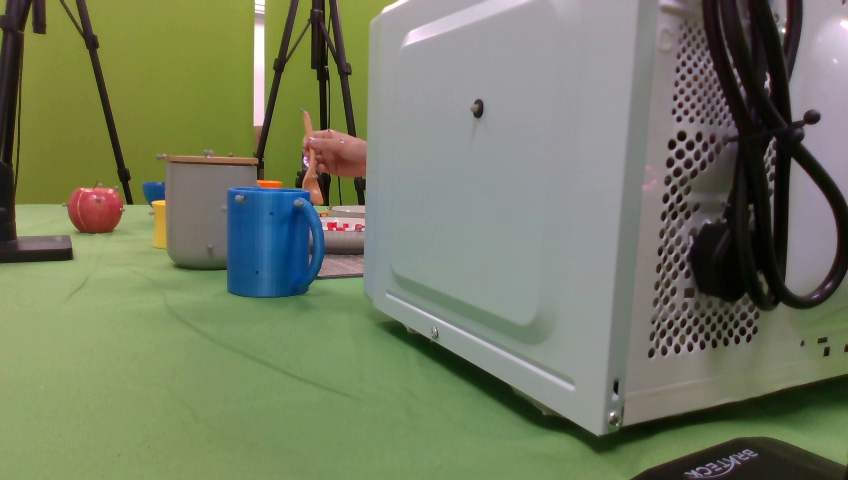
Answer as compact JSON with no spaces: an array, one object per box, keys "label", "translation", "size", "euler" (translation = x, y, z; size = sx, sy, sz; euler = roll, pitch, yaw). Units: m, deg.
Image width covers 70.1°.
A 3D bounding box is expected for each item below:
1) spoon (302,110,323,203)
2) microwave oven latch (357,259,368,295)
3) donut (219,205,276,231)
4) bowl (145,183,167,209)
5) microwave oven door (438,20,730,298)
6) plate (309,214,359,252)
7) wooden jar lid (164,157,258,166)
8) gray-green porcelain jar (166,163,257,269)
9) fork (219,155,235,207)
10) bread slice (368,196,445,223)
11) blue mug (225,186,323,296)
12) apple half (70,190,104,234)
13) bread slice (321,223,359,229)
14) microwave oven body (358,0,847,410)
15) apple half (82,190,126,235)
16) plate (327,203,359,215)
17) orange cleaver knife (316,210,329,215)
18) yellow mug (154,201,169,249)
[{"label":"spoon","translation":[-0.190,-0.143,1.015],"size":[0.021,0.193,0.042],"euler":[-27,-32,32]},{"label":"microwave oven latch","translation":[-0.019,0.031,0.529],"size":[0.079,0.029,0.030],"euler":[-1,7,-26]},{"label":"donut","translation":[-0.316,-0.039,1.083],"size":[0.099,0.048,0.099],"euler":[2,6,0]},{"label":"bowl","translation":[-0.459,-0.068,1.175],"size":[0.151,0.077,0.151],"euler":[3,7,0]},{"label":"microwave oven door","translation":[0.181,-0.076,0.618],"size":[0.358,0.243,0.039],"euler":[-2,8,-28]},{"label":"plate","translation":[-0.130,-0.011,0.945],"size":[0.208,0.039,0.207],"euler":[2,8,0]},{"label":"wooden jar lid","translation":[-0.261,-0.093,0.746],"size":[0.108,0.020,0.108],"euler":[0,9,0]},{"label":"gray-green porcelain jar","translation":[-0.263,-0.031,0.754],"size":[0.106,0.126,0.106],"euler":[2,7,0]},{"label":"fork","translation":[-0.459,-0.134,1.415],"size":[0.028,0.018,0.207],"euler":[-1,-34,-24]},{"label":"bread slice","translation":[-0.040,-0.057,1.142],"size":[0.107,0.018,0.133],"euler":[-8,-8,-40]},{"label":"blue mug","translation":[-0.148,0.000,0.618],"size":[0.116,0.106,0.083],"euler":[7,9,33]},{"label":"apple half","translation":[-0.552,-0.048,1.010],"size":[0.053,0.074,0.081],"euler":[-1,9,26]},{"label":"bread slice","translation":[-0.124,-0.010,0.938],"size":[0.131,0.019,0.105],"euler":[7,10,31]},{"label":"microwave oven body","translation":[0.210,-0.051,0.471],"size":[0.444,0.260,0.324],"euler":[-1,7,-28]},{"label":"apple half","translation":[-0.517,-0.046,0.994],"size":[0.032,0.081,0.081],"euler":[0,6,26]},{"label":"plate","translation":[-0.102,-0.053,1.299],"size":[0.209,0.038,0.209],"euler":[2,8,0]},{"label":"orange cleaver knife","translation":[-0.259,-0.064,1.423],"size":[0.212,0.012,0.077],"euler":[-4,3,-30]},{"label":"yellow mug","translation":[-0.338,-0.022,0.899],"size":[0.130,0.064,0.100],"euler":[8,9,34]}]
